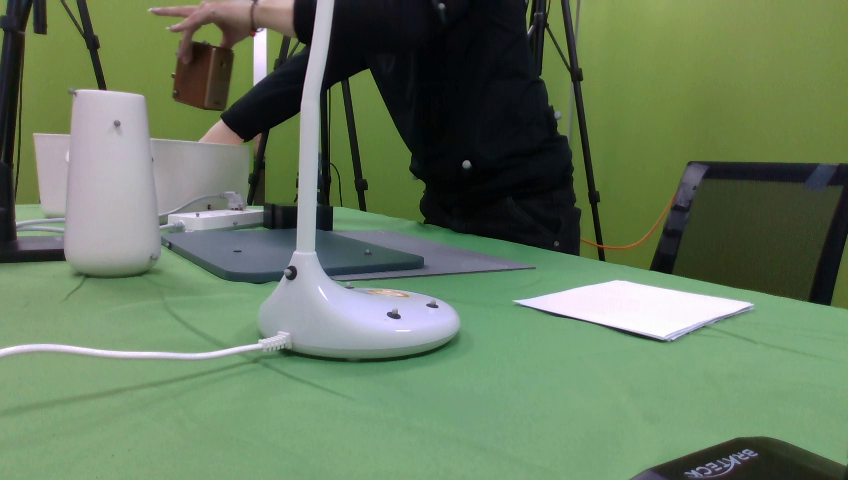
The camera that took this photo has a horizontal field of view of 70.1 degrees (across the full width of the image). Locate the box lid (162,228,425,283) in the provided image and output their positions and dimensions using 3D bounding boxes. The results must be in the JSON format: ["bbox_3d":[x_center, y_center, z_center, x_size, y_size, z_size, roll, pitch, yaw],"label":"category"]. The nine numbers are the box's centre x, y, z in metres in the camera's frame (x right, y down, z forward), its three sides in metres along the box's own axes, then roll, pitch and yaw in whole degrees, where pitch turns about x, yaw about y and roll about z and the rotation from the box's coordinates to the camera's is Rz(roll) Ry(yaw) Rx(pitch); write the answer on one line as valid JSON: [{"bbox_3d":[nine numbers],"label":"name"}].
[{"bbox_3d":[-0.200,0.014,0.861,0.265,0.015,0.369,-3,9,-35],"label":"box lid"}]

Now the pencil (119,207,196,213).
[{"bbox_3d":[-0.586,-0.068,1.342,0.012,0.012,0.195,6,7,28],"label":"pencil"}]

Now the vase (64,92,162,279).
[{"bbox_3d":[-0.347,-0.060,0.673,0.098,0.200,0.098,1,7,0],"label":"vase"}]

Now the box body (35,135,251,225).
[{"bbox_3d":[-0.559,-0.127,1.257,0.253,0.160,0.365,4,8,15],"label":"box body"}]

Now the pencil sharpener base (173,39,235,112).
[{"bbox_3d":[-0.382,-0.283,1.044,0.076,0.107,0.061,18,15,16],"label":"pencil sharpener base"}]

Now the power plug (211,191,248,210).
[{"bbox_3d":[-0.384,-0.072,1.206,0.072,0.052,0.035,2,10,29],"label":"power plug"}]

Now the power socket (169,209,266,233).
[{"bbox_3d":[-0.379,-0.038,1.129,0.072,0.032,0.227,4,8,19],"label":"power socket"}]

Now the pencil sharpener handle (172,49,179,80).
[{"bbox_3d":[-0.425,-0.310,1.056,0.030,0.067,0.036,18,23,16],"label":"pencil sharpener handle"}]

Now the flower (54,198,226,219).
[{"bbox_3d":[-0.574,-0.059,1.267,0.044,0.038,0.364,33,19,33],"label":"flower"}]

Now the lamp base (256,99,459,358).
[{"bbox_3d":[-0.055,-0.013,0.463,0.160,0.180,0.180,6,11,27],"label":"lamp base"}]
